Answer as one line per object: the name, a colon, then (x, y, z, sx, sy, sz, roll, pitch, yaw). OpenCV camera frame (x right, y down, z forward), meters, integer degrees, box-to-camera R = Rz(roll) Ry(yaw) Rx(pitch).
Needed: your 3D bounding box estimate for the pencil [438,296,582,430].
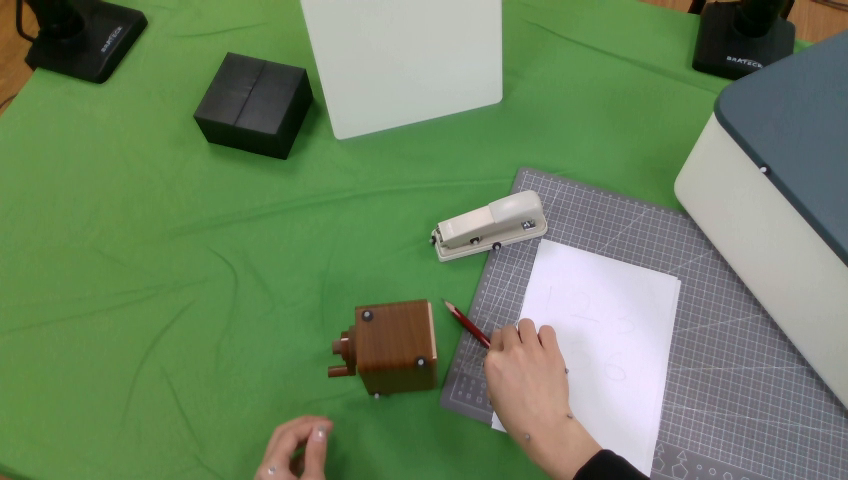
pencil: (0.082, 0.121, 0.616, 0.012, 0.012, 0.192, -42, 70, -18)

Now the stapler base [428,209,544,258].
stapler base: (0.070, -0.018, 0.675, 0.130, 0.024, 0.041, -16, 61, -3)

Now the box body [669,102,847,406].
box body: (0.458, -0.016, 0.596, 0.254, 0.161, 0.361, -26, 67, -12)

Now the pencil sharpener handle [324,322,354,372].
pencil sharpener handle: (-0.082, 0.103, 0.559, 0.030, 0.068, 0.035, -6, 50, -2)

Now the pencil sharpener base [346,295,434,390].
pencil sharpener base: (-0.031, 0.100, 0.575, 0.077, 0.108, 0.061, -6, 65, -2)

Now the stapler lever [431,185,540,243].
stapler lever: (0.067, -0.028, 0.652, 0.118, 0.040, 0.026, -15, 61, -4)

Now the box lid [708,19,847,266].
box lid: (0.456, -0.050, 0.531, 0.263, 0.015, 0.368, -26, 68, -12)

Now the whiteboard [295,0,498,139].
whiteboard: (-0.042, -0.303, 0.691, 0.217, 0.308, 0.142, -14, 46, -6)
